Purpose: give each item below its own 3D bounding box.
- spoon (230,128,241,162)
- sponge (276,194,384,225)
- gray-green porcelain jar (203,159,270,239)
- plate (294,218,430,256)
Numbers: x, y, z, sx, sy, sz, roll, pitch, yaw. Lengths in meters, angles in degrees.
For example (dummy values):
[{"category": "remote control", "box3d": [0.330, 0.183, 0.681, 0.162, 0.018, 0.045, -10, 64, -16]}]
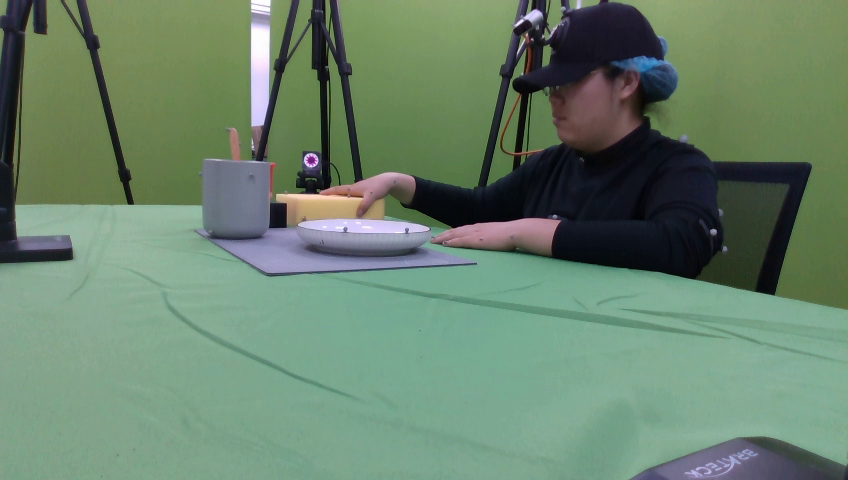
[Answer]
[{"category": "spoon", "box3d": [-0.314, -0.109, 1.025, 0.042, 0.193, 0.021, -5, -19, -16]}, {"category": "sponge", "box3d": [-0.203, -0.066, 1.312, 0.208, 0.061, 0.117, -2, 8, -35]}, {"category": "gray-green porcelain jar", "box3d": [-0.310, -0.068, 0.999, 0.106, 0.126, 0.106, 3, 8, 0]}, {"category": "plate", "box3d": [-0.096, -0.005, 0.936, 0.208, 0.039, 0.207, 3, 7, 0]}]
